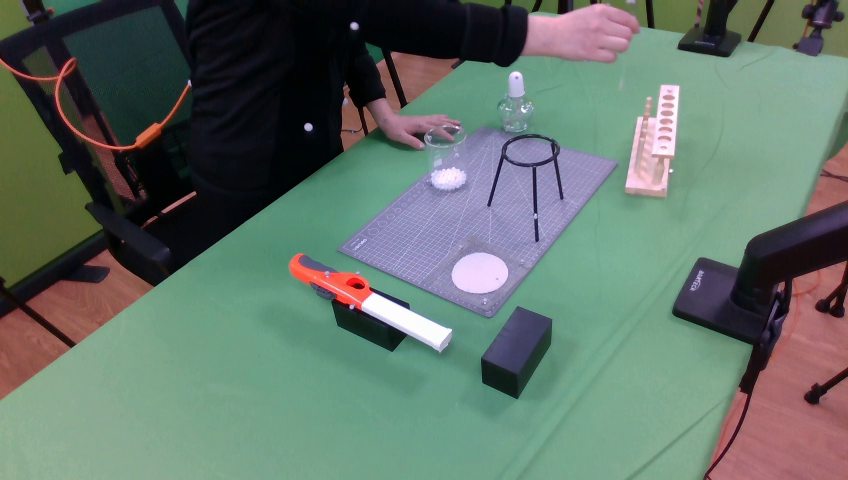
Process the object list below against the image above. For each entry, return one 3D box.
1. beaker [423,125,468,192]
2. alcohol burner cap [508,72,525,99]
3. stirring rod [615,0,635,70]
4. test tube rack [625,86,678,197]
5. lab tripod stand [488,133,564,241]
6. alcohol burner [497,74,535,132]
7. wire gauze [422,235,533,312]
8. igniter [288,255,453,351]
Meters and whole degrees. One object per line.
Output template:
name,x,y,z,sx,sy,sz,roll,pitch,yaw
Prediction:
beaker,0.042,-0.144,1.078,0.073,0.100,0.084,28,51,33
alcohol burner cap,0.181,-0.306,1.186,0.034,0.048,0.033,-7,39,6
stirring rod,0.287,-0.310,0.858,0.014,0.177,0.006,-21,57,-4
test tube rack,0.412,-0.184,1.088,0.066,0.085,0.242,9,43,18
lab tripod stand,0.168,-0.093,0.972,0.148,0.132,0.147,-5,41,5
alcohol burner,0.184,-0.278,1.210,0.078,0.119,0.077,-3,43,3
wire gauze,0.082,0.049,0.914,0.120,0.011,0.125,26,53,32
igniter,-0.083,0.079,0.818,0.274,0.025,0.057,22,46,27
